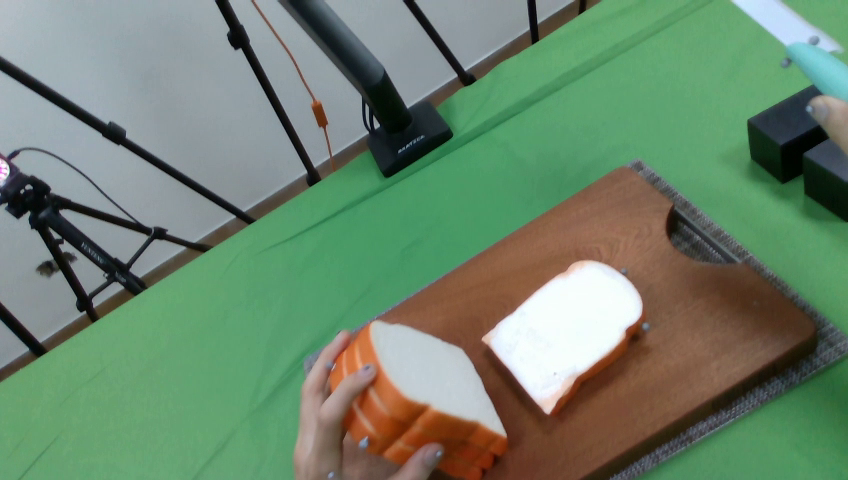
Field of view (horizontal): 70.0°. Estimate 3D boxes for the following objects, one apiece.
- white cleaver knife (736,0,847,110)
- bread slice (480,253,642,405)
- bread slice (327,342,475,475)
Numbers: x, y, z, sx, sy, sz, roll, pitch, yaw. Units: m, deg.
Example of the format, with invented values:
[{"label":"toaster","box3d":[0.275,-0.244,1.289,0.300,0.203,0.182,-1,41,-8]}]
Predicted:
[{"label":"white cleaver knife","box3d":[0.251,-0.147,0.408,0.066,0.021,0.284,-23,66,-29]},{"label":"bread slice","box3d":[0.126,0.071,0.531,0.131,0.019,0.103,-41,39,-1]},{"label":"bread slice","box3d":[-0.020,0.131,0.497,0.018,0.135,0.106,-47,36,16]}]
